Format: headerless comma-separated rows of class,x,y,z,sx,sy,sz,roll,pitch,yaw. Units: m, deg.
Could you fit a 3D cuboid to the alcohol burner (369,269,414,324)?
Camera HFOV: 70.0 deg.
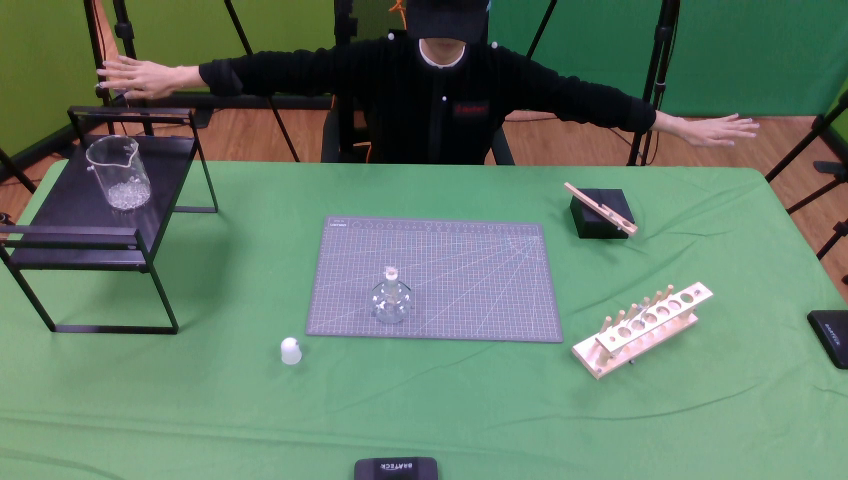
alcohol burner,-0.056,0.089,1.037,0.078,0.120,0.077,1,47,-1

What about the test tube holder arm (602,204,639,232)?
test tube holder arm,0.384,-0.041,1.196,0.010,0.015,0.087,-31,56,-32

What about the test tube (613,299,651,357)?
test tube,0.328,0.143,0.962,0.017,0.151,0.017,3,48,-3

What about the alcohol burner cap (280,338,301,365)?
alcohol burner cap,-0.220,0.179,0.993,0.034,0.048,0.033,3,46,-2

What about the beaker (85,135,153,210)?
beaker,-0.475,-0.102,0.957,0.083,0.101,0.074,34,53,26

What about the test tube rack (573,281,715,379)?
test tube rack,0.378,0.140,1.038,0.242,0.085,0.066,-22,51,-23

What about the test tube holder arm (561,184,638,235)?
test tube holder arm,0.349,-0.063,1.213,0.177,0.015,0.013,36,52,26
